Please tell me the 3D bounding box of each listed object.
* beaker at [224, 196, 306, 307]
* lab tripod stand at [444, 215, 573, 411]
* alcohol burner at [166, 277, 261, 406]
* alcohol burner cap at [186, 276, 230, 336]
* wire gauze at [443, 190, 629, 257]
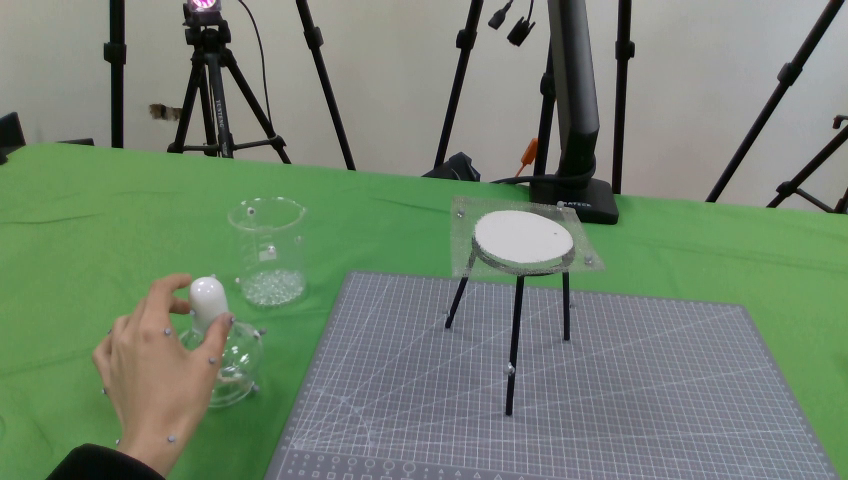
[{"bbox_3d":[-0.163,0.013,0.644,0.084,0.101,0.073,-17,37,-30],"label":"beaker"},{"bbox_3d":[0.082,0.058,0.551,0.148,0.132,0.147,3,33,-2],"label":"lab tripod stand"},{"bbox_3d":[-0.180,0.082,0.515,0.078,0.120,0.077,4,30,-2],"label":"alcohol burner"},{"bbox_3d":[-0.179,0.051,0.497,0.034,0.048,0.033,4,36,-2],"label":"alcohol burner cap"},{"bbox_3d":[0.091,-0.016,0.511,0.125,0.011,0.120,-2,26,-21],"label":"wire gauze"}]
